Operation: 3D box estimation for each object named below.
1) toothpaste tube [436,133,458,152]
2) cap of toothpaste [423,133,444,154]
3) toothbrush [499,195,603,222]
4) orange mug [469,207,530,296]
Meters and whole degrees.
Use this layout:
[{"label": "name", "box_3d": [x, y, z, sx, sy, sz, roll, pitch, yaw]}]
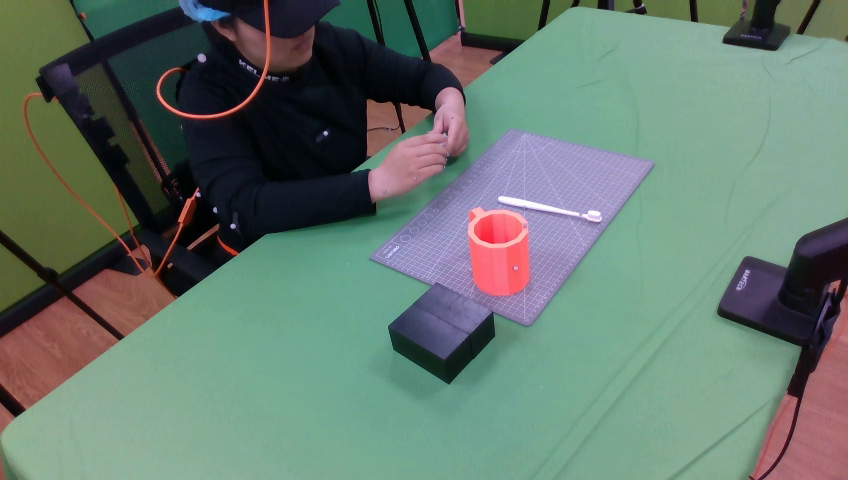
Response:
[{"label": "toothpaste tube", "box_3d": [0.030, -0.182, 1.122, 0.055, 0.034, 0.165, -13, 9, 10]}, {"label": "cap of toothpaste", "box_3d": [0.016, -0.167, 1.046, 0.037, 0.037, 0.011, -3, 11, 8]}, {"label": "toothbrush", "box_3d": [0.209, -0.055, 1.011, 0.180, 0.017, 0.014, 14, 61, 27]}, {"label": "orange mug", "box_3d": [0.104, 0.008, 0.894, 0.084, 0.101, 0.125, -22, 46, -14]}]
